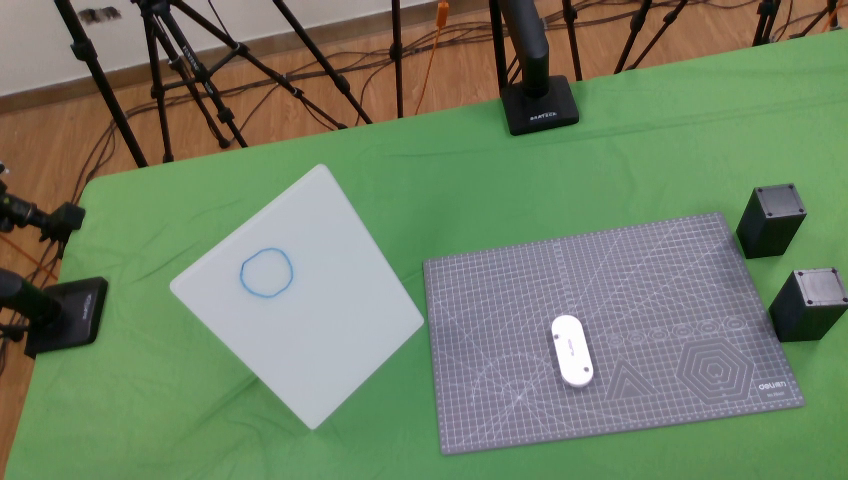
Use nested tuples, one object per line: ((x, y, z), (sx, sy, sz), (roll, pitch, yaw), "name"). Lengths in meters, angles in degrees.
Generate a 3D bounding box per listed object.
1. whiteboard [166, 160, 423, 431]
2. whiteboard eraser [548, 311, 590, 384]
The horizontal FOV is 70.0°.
((-0.175, 0.062, 0.805), (0.217, 0.309, 0.142), (-43, 40, -16), "whiteboard")
((0.193, 0.142, 0.811), (0.041, 0.019, 0.100), (-9, 57, 4), "whiteboard eraser")
